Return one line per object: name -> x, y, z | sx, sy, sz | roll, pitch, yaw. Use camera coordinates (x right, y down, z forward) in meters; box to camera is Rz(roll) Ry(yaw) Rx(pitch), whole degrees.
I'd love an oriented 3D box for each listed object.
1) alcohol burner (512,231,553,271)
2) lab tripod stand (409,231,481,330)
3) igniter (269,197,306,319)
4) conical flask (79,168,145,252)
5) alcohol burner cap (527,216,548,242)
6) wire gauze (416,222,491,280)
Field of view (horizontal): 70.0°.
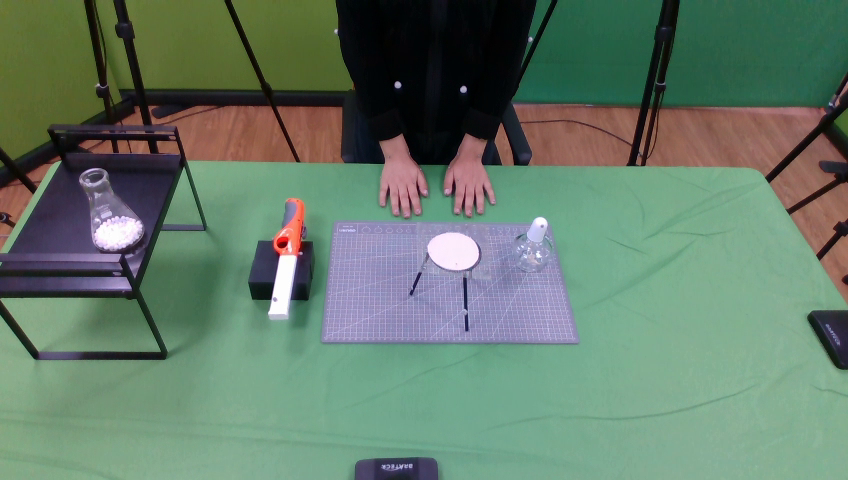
alcohol burner -> 0.208, 0.003, 1.145 | 0.078, 0.119, 0.077 | 3, 44, -3
lab tripod stand -> 0.051, 0.064, 1.060 | 0.148, 0.132, 0.147 | 3, 46, -3
igniter -> -0.246, 0.023, 1.087 | 0.057, 0.025, 0.274 | -1, 49, -2
conical flask -> -0.463, -0.048, 0.888 | 0.075, 0.122, 0.075 | 2, 46, -2
alcohol burner cap -> 0.212, -0.023, 1.119 | 0.034, 0.048, 0.033 | 8, 46, -8
wire gauze -> 0.048, 0.014, 1.013 | 0.125, 0.011, 0.120 | 3, 47, -3
